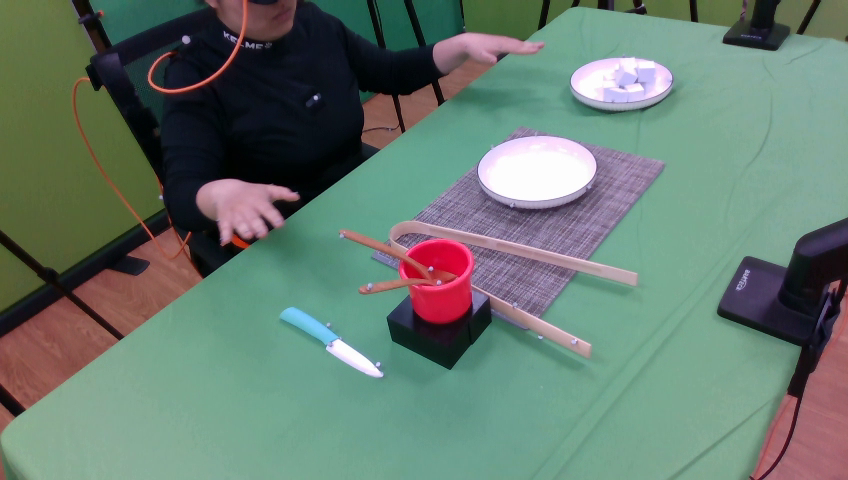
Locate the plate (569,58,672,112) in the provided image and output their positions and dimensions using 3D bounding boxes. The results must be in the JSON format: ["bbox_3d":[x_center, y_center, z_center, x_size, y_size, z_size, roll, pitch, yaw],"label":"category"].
[{"bbox_3d":[0.411,-0.323,1.274,0.209,0.038,0.208,-5,41,5],"label":"plate"}]

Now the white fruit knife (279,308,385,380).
[{"bbox_3d":[-0.130,0.143,0.845,0.205,0.016,0.027,25,79,32],"label":"white fruit knife"}]

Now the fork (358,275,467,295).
[{"bbox_3d":[-0.009,0.056,0.739,0.028,0.018,0.209,48,23,26],"label":"fork"}]

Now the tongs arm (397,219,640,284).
[{"bbox_3d":[0.132,0.015,0.926,0.385,0.028,0.028,13,50,25],"label":"tongs arm"}]

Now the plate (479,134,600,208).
[{"bbox_3d":[0.202,-0.117,1.065,0.207,0.039,0.206,-5,40,5],"label":"plate"}]

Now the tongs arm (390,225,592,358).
[{"bbox_3d":[0.083,0.063,0.879,0.381,0.026,0.051,25,52,35],"label":"tongs arm"}]

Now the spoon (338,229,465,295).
[{"bbox_3d":[-0.025,0.026,0.776,0.021,0.195,0.041,-41,34,31],"label":"spoon"}]
